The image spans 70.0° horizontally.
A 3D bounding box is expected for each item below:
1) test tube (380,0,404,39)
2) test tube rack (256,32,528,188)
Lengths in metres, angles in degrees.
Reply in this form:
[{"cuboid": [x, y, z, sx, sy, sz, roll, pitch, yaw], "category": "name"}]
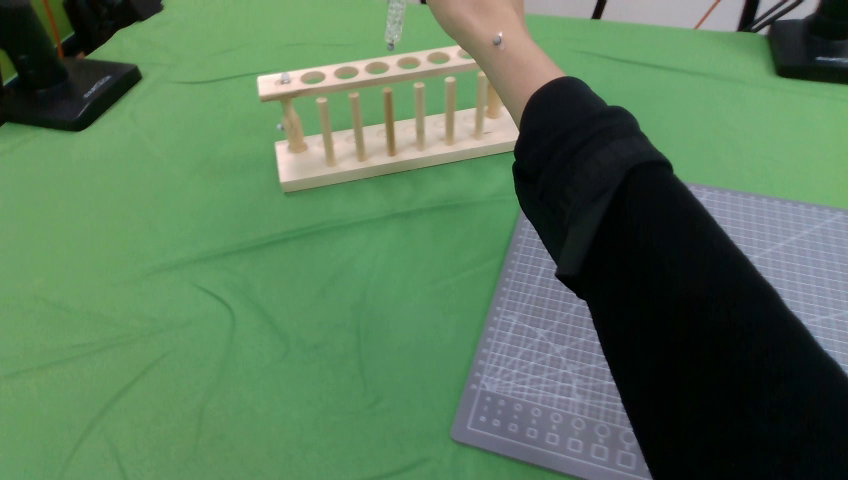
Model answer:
[{"cuboid": [-0.016, -0.208, 0.437, 0.017, 0.151, 0.017, 6, 56, -9], "category": "test tube"}, {"cuboid": [-0.025, -0.123, 0.571, 0.243, 0.086, 0.066, -12, 47, -8], "category": "test tube rack"}]
